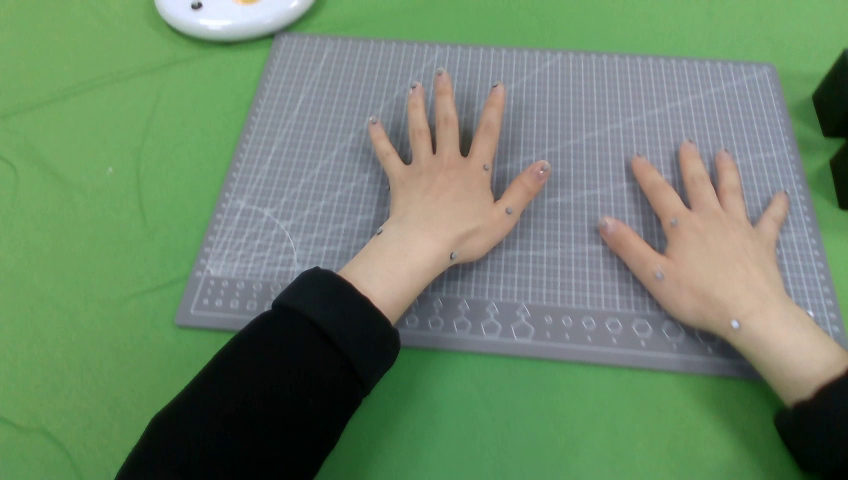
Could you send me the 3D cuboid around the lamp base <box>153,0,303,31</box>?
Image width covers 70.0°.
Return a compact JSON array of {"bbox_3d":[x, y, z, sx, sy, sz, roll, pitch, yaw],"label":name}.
[{"bbox_3d":[-0.193,-0.307,0.524,0.160,0.182,0.177,-32,61,-17],"label":"lamp base"}]
